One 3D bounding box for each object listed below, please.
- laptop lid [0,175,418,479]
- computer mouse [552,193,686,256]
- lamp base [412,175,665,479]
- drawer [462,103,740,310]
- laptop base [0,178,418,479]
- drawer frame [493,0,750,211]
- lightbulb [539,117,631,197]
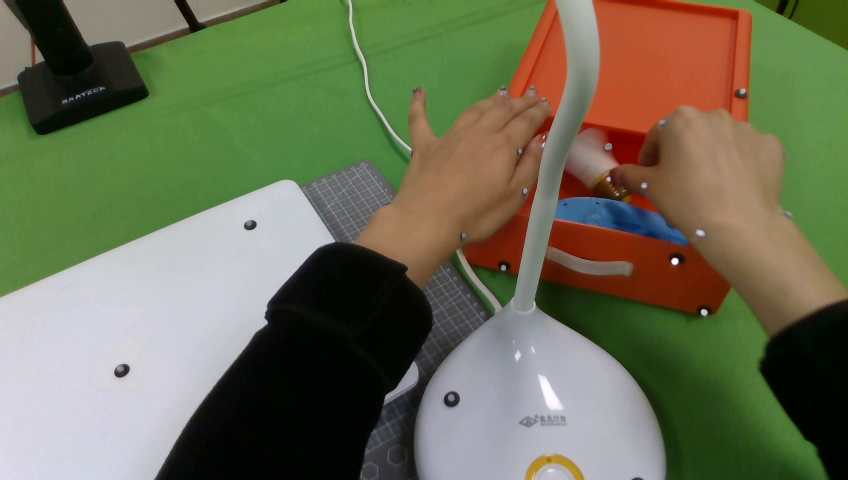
[{"bbox_3d":[-0.210,0.091,0.427,0.357,0.013,0.239,-25,56,-16],"label":"laptop lid"},{"bbox_3d":[0.148,-0.004,0.480,0.117,0.041,0.062,8,48,6],"label":"computer mouse"},{"bbox_3d":[0.067,0.066,0.341,0.161,0.182,0.177,-11,49,-8],"label":"lamp base"},{"bbox_3d":[0.153,-0.060,0.509,0.194,0.074,0.210,12,51,14],"label":"drawer"},{"bbox_3d":[-0.210,0.096,0.438,0.354,0.023,0.233,-26,58,-18],"label":"laptop base"},{"bbox_3d":[0.188,-0.145,0.571,0.201,0.083,0.212,13,52,14],"label":"drawer frame"},{"bbox_3d":[0.141,-0.068,0.524,0.059,0.060,0.106,-19,37,-12],"label":"lightbulb"}]
